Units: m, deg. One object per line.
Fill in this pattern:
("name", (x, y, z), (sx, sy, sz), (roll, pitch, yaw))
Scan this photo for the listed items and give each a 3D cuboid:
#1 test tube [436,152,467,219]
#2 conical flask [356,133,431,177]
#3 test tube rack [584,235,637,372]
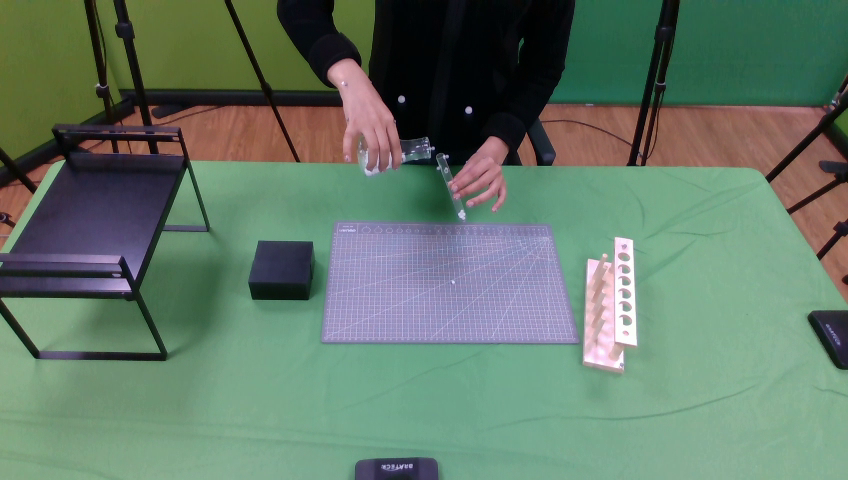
("test tube", (0.051, -0.096, 1.090), (0.017, 0.151, 0.017), (-14, 40, 12))
("conical flask", (-0.051, -0.153, 1.041), (0.122, 0.076, 0.075), (-7, 46, 9))
("test tube rack", (0.329, 0.103, 1.073), (0.067, 0.085, 0.241), (10, 47, 7))
